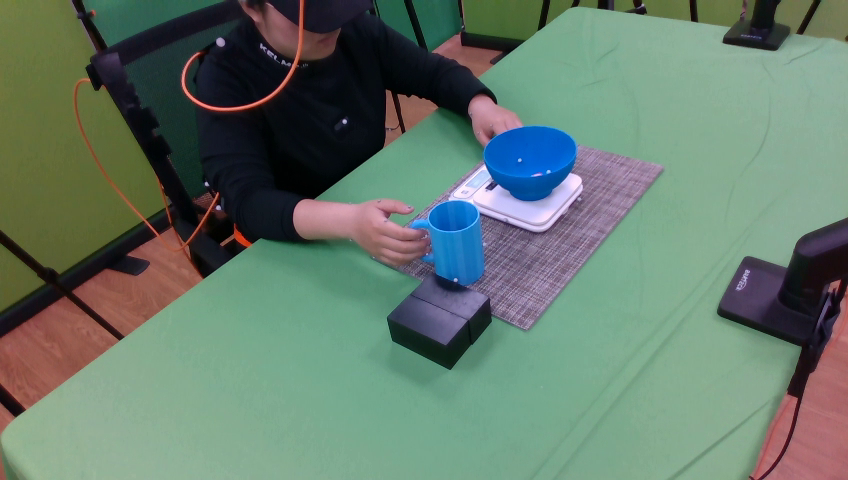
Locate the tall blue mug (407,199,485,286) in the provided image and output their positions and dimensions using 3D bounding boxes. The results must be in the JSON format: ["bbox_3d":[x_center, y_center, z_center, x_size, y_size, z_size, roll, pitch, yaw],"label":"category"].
[{"bbox_3d":[0.034,0.008,0.892,0.107,0.108,0.077,-13,41,-5],"label":"tall blue mug"}]

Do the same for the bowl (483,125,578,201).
[{"bbox_3d":[0.175,-0.117,0.991,0.151,0.077,0.150,-6,41,5],"label":"bowl"}]

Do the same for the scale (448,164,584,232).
[{"bbox_3d":[0.156,-0.085,1.040,0.199,0.032,0.149,22,49,32],"label":"scale"}]
